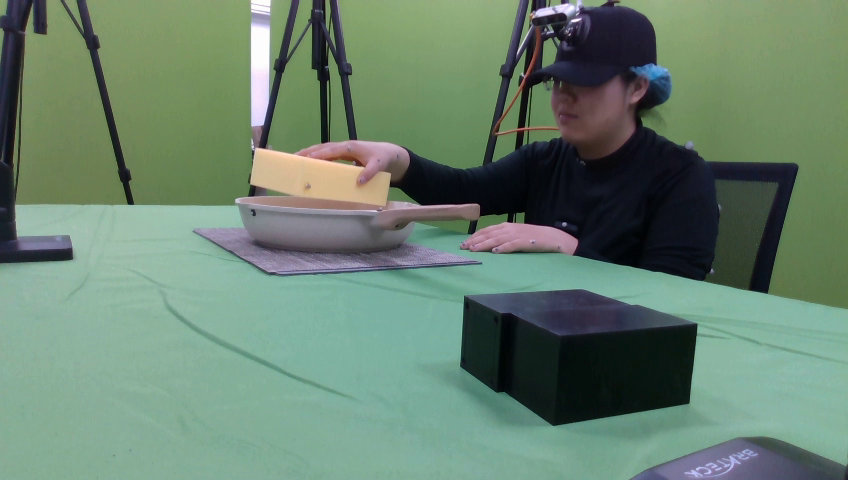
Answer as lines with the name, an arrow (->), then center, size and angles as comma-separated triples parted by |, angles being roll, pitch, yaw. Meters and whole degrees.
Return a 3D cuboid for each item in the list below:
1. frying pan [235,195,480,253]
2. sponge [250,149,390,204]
frying pan -> -0.090, -0.034, 0.891 | 0.308, 0.102, 0.485 | -4, 2, -36
sponge -> -0.169, -0.104, 1.014 | 0.117, 0.061, 0.208 | 15, 9, 35
